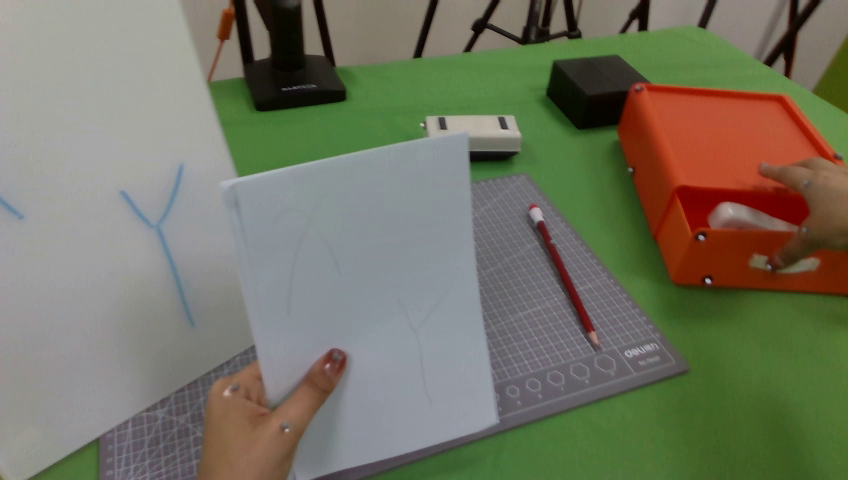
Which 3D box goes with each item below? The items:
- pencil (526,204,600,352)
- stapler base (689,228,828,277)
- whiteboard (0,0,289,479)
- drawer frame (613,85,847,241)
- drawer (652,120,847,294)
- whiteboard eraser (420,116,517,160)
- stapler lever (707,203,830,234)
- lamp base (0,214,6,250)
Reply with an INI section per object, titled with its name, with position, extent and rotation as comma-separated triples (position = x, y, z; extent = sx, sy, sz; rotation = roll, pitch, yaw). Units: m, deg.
[pencil]
position = 0.131, 0.030, 0.580
extent = 0.012, 0.012, 0.192
rotation = -5, 44, -10
[stapler base]
position = 0.333, 0.006, 0.599
extent = 0.130, 0.024, 0.041
rotation = 9, 50, 5
[whiteboard]
position = -0.264, -0.027, 0.434
extent = 0.217, 0.308, 0.142
rotation = -30, 32, -32
[drawer frame]
position = 0.335, -0.086, 0.676
extent = 0.202, 0.083, 0.211
rotation = 3, 41, -1
[drawer]
position = 0.334, -0.043, 0.631
extent = 0.194, 0.074, 0.209
rotation = 3, 41, 0
[whiteboard eraser]
position = 0.053, -0.122, 0.725
extent = 0.113, 0.042, 0.055
rotation = -1, 43, -6
[stapler lever]
position = 0.334, -0.010, 0.583
extent = 0.118, 0.040, 0.026
rotation = 7, 50, 7
[lamp base]
position = -0.474, -0.050, 0.492
extent = 0.178, 0.182, 0.159
rotation = 14, 42, 15
